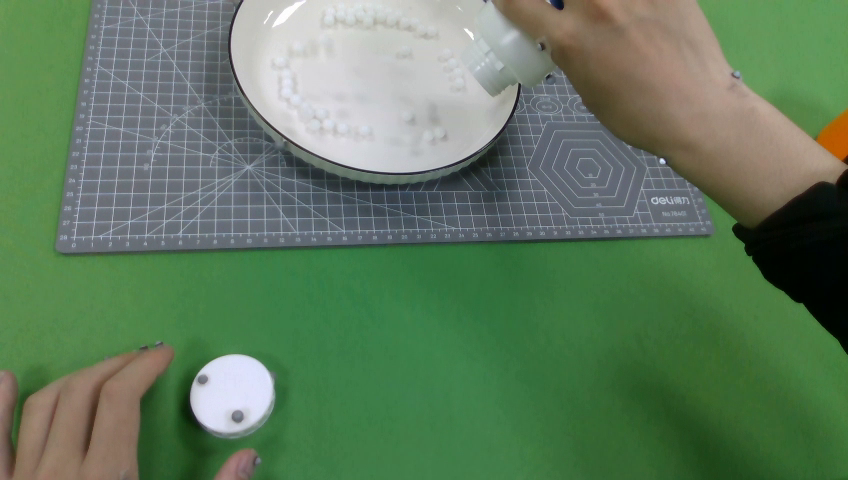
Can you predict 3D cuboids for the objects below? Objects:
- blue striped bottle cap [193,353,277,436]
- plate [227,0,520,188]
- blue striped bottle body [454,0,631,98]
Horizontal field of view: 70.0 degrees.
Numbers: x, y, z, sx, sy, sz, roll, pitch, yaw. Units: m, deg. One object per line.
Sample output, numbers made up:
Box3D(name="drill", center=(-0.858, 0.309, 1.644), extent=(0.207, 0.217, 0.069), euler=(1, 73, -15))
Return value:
Box3D(name="blue striped bottle cap", center=(-0.105, 0.086, 0.339), extent=(0.045, 0.021, 0.044), euler=(4, 67, -9))
Box3D(name="plate", center=(-0.034, -0.123, 0.443), extent=(0.208, 0.039, 0.206), euler=(5, 63, -10))
Box3D(name="blue striped bottle body", center=(0.077, -0.147, 0.397), extent=(0.121, 0.063, 0.062), euler=(-39, 72, 18))
